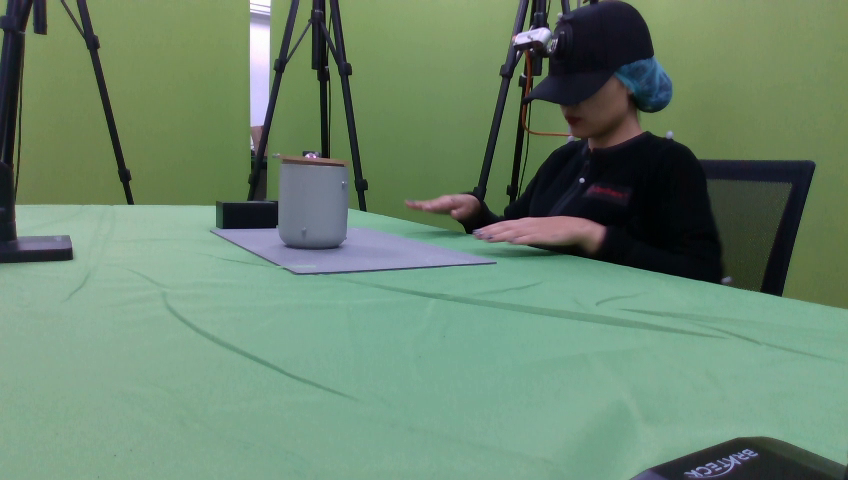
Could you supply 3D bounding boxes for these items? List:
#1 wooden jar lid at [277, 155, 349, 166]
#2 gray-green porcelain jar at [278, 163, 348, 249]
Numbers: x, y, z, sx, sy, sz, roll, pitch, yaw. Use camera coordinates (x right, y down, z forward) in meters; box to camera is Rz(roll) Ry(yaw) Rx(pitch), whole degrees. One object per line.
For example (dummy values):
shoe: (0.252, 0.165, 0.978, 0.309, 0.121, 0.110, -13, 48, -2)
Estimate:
wooden jar lid: (-0.170, -0.117, 0.925, 0.108, 0.020, 0.108, 4, 7, 0)
gray-green porcelain jar: (-0.171, -0.053, 0.934, 0.106, 0.126, 0.106, 2, 7, 0)
